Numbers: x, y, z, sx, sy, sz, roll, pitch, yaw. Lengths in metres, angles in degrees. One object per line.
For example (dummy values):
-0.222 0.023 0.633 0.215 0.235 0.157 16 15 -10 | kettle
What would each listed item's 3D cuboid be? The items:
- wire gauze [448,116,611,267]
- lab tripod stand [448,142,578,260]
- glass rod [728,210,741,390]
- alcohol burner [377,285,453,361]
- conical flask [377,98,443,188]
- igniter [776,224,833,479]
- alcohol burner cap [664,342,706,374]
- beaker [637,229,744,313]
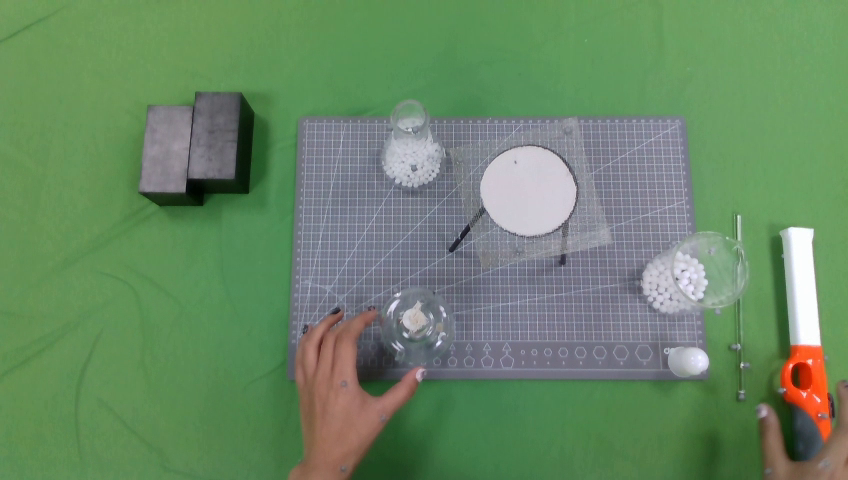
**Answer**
0.094 -0.044 0.550 0.125 0.011 0.121 -13 79 -2 | wire gauze
0.094 -0.032 0.617 0.148 0.132 0.148 0 80 1 | lab tripod stand
0.341 0.062 0.664 0.008 0.008 0.199 4 78 0 | glass rod
-0.010 0.081 0.603 0.078 0.119 0.077 0 77 2 | alcohol burner
-0.016 -0.106 0.637 0.075 0.122 0.075 0 77 1 | conical flask
0.401 0.119 0.643 0.057 0.025 0.275 4 78 -8 | igniter
0.275 0.122 0.631 0.034 0.048 0.033 0 77 0 | alcohol burner cap
0.269 0.034 0.621 0.084 0.100 0.073 -36 80 -8 | beaker
